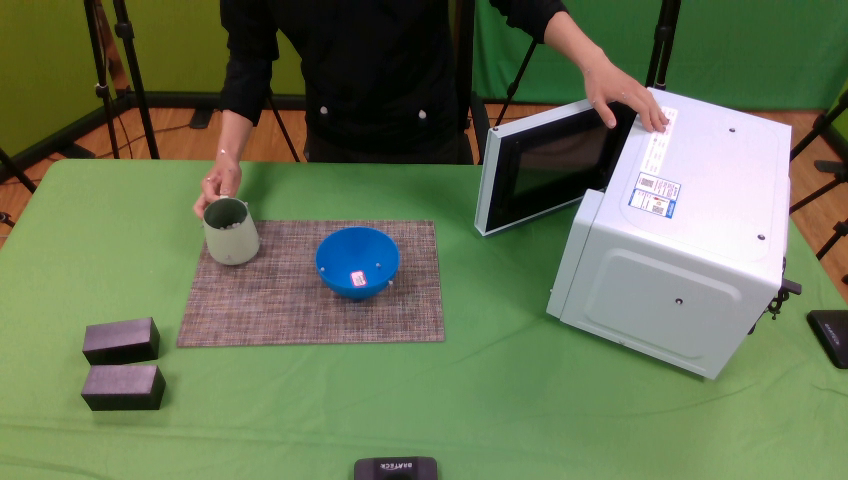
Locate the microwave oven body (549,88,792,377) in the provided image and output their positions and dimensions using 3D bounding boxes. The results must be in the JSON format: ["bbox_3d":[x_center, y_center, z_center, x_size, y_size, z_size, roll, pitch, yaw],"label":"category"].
[{"bbox_3d":[0.456,-0.028,1.088,0.325,0.261,0.440,20,47,16],"label":"microwave oven body"}]

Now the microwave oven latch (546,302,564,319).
[{"bbox_3d":[0.242,0.102,1.081,0.030,0.029,0.079,22,48,17],"label":"microwave oven latch"}]

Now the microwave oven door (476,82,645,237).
[{"bbox_3d":[0.269,-0.159,1.193,0.356,0.245,0.039,-21,49,-22],"label":"microwave oven door"}]

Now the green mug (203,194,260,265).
[{"bbox_3d":[-0.361,-0.027,1.126,0.092,0.105,0.124,-12,53,-14],"label":"green mug"}]

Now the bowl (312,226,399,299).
[{"bbox_3d":[-0.120,0.054,1.091,0.151,0.077,0.150,2,46,-2],"label":"bowl"}]
